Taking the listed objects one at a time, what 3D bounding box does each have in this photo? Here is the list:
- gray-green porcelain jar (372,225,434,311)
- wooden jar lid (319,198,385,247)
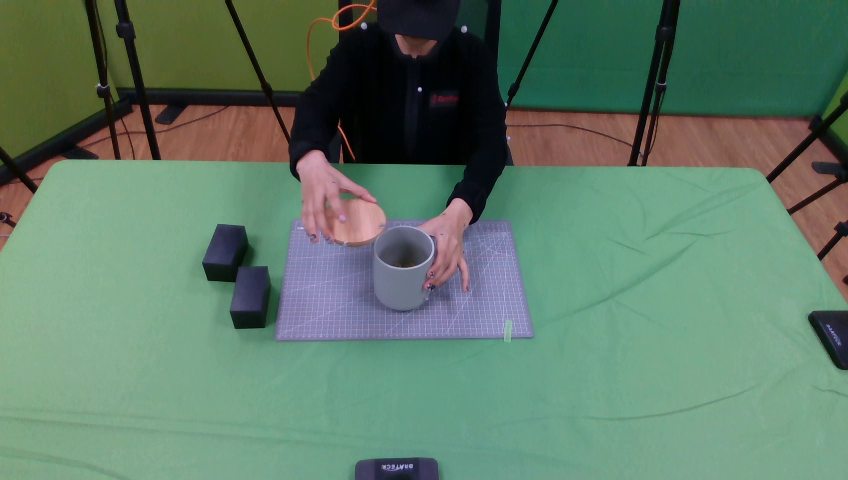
[{"bbox_3d":[-0.037,0.054,1.067,0.106,0.127,0.105,2,46,-2],"label":"gray-green porcelain jar"},{"bbox_3d":[-0.119,-0.028,1.004,0.108,0.021,0.107,4,46,-3],"label":"wooden jar lid"}]
